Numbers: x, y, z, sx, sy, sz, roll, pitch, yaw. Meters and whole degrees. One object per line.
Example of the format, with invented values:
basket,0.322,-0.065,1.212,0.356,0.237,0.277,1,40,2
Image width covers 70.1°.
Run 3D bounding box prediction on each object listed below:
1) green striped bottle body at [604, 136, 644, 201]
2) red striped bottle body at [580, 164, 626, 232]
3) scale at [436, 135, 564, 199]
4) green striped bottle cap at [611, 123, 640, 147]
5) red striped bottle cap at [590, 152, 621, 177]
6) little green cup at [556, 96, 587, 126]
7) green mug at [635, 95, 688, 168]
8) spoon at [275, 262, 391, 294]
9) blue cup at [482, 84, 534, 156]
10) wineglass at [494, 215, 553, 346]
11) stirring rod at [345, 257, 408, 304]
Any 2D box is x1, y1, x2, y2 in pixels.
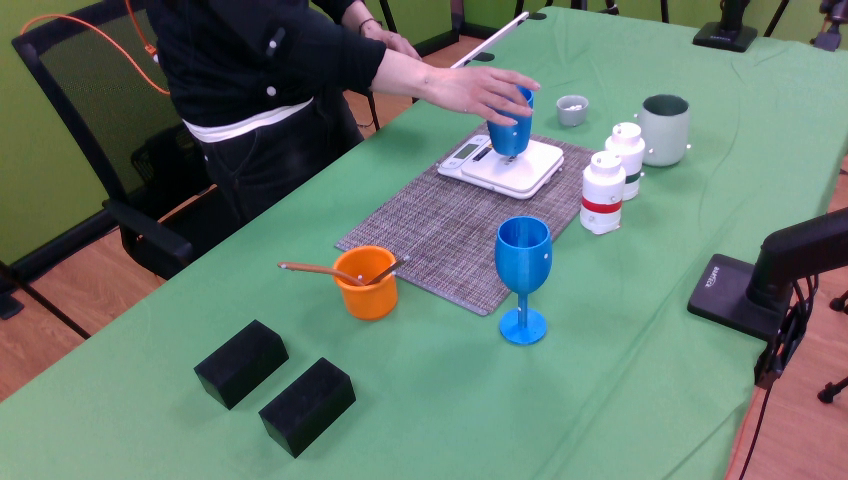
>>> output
green striped bottle body,0.326,-0.128,0.997,0.063,0.120,0.063,-4,41,4
red striped bottle body,0.278,-0.075,0.942,0.063,0.120,0.062,-4,41,4
scale,0.137,-0.142,1.101,0.199,0.032,0.149,22,48,30
green striped bottle cap,0.322,-0.168,0.963,0.044,0.020,0.044,-3,41,4
red striped bottle cap,0.273,-0.114,0.907,0.044,0.018,0.044,-5,39,4
little green cup,0.295,-0.258,1.214,0.061,0.039,0.061,-4,42,4
green mug,0.421,-0.201,1.081,0.092,0.105,0.125,5,42,15
spoon,-0.120,0.050,0.830,0.041,0.195,0.021,31,97,45
blue cup,0.145,-0.201,1.035,0.092,0.100,0.092,-5,40,5
wineglass,0.127,0.055,0.770,0.074,0.173,0.073,-4,40,4
stirring rod,-0.067,0.057,0.815,0.014,0.175,0.006,-24,82,-37
